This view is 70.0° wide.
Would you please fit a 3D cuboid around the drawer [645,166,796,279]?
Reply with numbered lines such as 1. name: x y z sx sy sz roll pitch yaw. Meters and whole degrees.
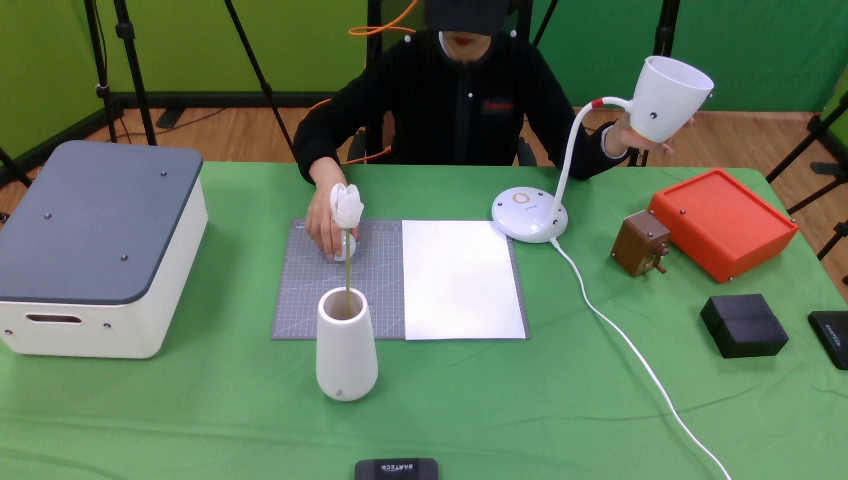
1. drawer: 0.600 -0.040 1.236 0.195 0.073 0.210 -21 52 -23

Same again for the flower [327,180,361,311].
1. flower: -0.110 0.086 0.867 0.044 0.363 0.038 22 33 35

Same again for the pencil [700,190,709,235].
1. pencil: 0.583 -0.058 1.257 0.012 0.012 0.193 16 35 12

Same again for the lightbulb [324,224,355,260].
1. lightbulb: -0.162 -0.002 1.163 0.059 0.060 0.107 -3 29 -6

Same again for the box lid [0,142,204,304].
1. box lid: -0.534 -0.044 0.995 0.263 0.015 0.369 3 45 -3

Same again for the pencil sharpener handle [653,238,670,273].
1. pencil sharpener handle: 0.444 0.030 1.120 0.036 0.068 0.030 -25 52 -18

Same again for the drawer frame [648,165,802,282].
1. drawer frame: 0.603 -0.040 1.234 0.202 0.083 0.212 -21 51 -23

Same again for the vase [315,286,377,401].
1. vase: -0.119 0.159 0.911 0.098 0.201 0.097 2 47 -2

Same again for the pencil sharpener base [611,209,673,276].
1. pencil sharpener base: 0.416 0.007 1.158 0.061 0.107 0.076 -21 51 -22

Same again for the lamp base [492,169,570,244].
1. lamp base: 0.234 -0.101 1.199 0.161 0.181 0.178 -24 56 -25

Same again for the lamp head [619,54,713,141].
1. lamp head: 0.380 -0.225 0.978 0.112 0.123 0.111 14 40 -12

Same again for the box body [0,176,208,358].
1. box body: -0.546 0.017 1.045 0.254 0.161 0.361 2 46 -2
